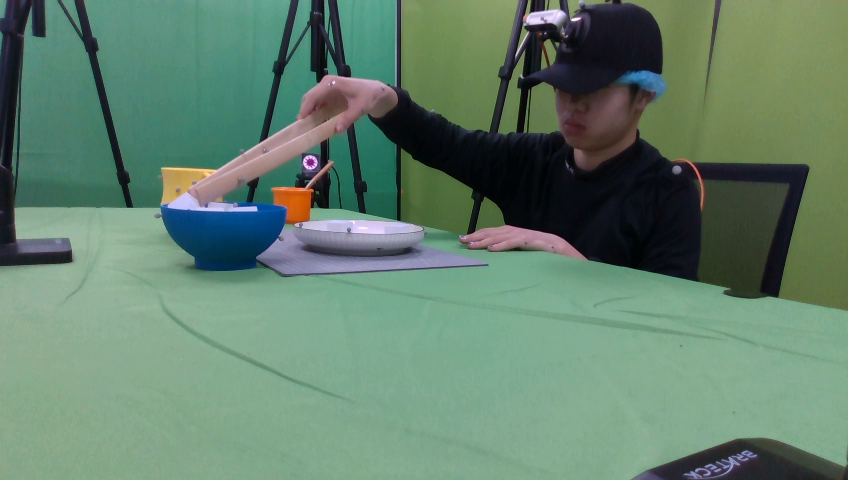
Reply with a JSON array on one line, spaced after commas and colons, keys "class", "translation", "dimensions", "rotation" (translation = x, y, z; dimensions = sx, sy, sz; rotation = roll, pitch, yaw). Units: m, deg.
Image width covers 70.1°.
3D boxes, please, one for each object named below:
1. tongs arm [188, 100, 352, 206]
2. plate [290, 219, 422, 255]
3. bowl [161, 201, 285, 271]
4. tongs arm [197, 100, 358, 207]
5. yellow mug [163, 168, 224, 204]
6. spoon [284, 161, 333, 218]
[{"class": "tongs arm", "translation": [-0.208, -0.142, 0.904], "dimensions": [0.050, 0.026, 0.385], "rotation": [6, 31, 18]}, {"class": "plate", "translation": [-0.108, -0.005, 0.963], "dimensions": [0.208, 0.039, 0.207], "rotation": [3, 7, 0]}, {"class": "bowl", "translation": [-0.254, -0.005, 0.771], "dimensions": [0.151, 0.077, 0.151], "rotation": [3, 8, 0]}, {"class": "tongs arm", "translation": [-0.196, -0.140, 0.899], "dimensions": [0.028, 0.028, 0.388], "rotation": [7, 31, 26]}, {"class": "yellow mug", "translation": [-0.383, -0.087, 1.026], "dimensions": [0.130, 0.064, 0.100], "rotation": [11, 11, 44]}, {"class": "spoon", "translation": [-0.262, -0.115, 1.359], "dimensions": [0.041, 0.194, 0.022], "rotation": [13, -33, 38]}]
